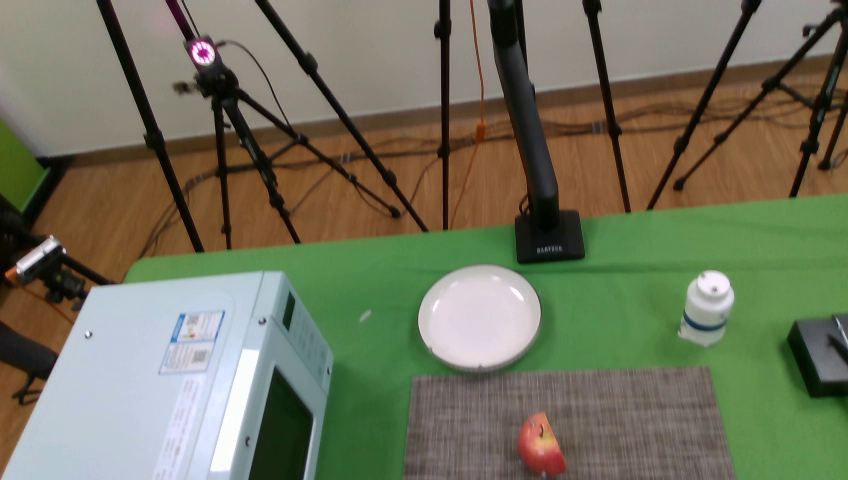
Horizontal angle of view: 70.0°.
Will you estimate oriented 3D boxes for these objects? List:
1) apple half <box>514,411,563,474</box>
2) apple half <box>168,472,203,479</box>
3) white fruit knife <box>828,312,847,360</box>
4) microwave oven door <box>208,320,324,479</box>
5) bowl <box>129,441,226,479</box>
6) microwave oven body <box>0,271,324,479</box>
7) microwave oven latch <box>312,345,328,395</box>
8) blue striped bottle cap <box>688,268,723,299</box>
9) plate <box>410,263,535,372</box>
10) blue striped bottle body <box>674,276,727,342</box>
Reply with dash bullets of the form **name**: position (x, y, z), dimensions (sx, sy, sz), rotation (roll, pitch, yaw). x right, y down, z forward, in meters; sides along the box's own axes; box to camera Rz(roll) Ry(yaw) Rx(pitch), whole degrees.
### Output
- **apple half**: position (0.151, 0.284, 0.832), dimensions (0.053, 0.075, 0.080), rotation (-22, 52, 0)
- **apple half**: position (-0.325, 0.351, 0.809), dimensions (0.081, 0.033, 0.080), rotation (-3, 63, 6)
- **white fruit knife**: position (0.576, 0.192, 0.797), dimensions (0.016, 0.028, 0.205), rotation (-20, 63, 20)
- **microwave oven door**: position (-0.202, 0.312, 0.766), dimensions (0.039, 0.246, 0.352), rotation (-6, 49, 9)
- **bowl**: position (-0.323, 0.357, 0.817), dimensions (0.151, 0.077, 0.150), rotation (-9, 58, 14)
- **microwave oven body**: position (-0.343, 0.299, 0.820), dimensions (0.325, 0.263, 0.437), rotation (-6, 50, 9)
- **microwave oven latch**: position (-0.174, 0.211, 0.982), dimensions (0.030, 0.030, 0.078), rotation (-6, 50, 9)
- **blue striped bottle cap**: position (0.401, 0.062, 0.862), dimensions (0.044, 0.021, 0.044), rotation (-7, 51, 9)
- **plate**: position (0.082, 0.131, 1.011), dimensions (0.207, 0.039, 0.205), rotation (-7, 49, 8)
- **blue striped bottle body**: position (0.410, 0.095, 0.899), dimensions (0.063, 0.122, 0.062), rotation (-7, 49, 9)
